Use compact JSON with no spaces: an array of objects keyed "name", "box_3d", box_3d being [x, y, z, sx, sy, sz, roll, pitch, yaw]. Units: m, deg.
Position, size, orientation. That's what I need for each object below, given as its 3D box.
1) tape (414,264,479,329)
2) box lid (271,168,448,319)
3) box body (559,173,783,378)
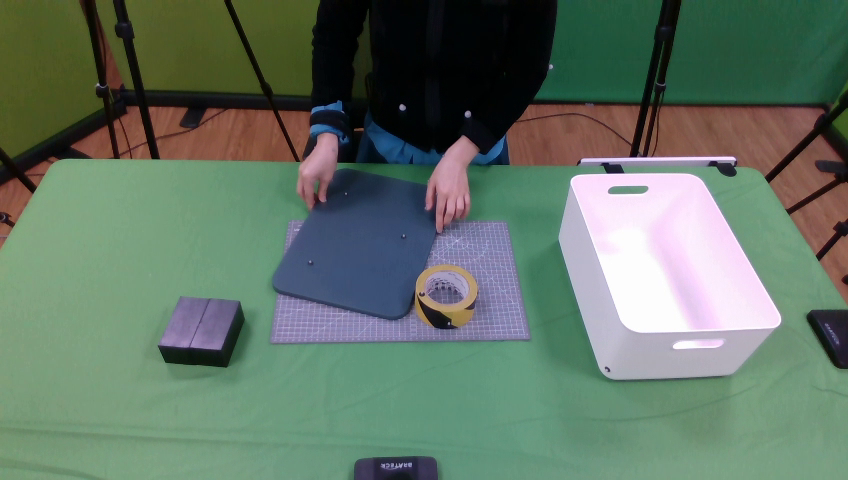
[{"name":"tape","box_3d":[0.038,0.099,1.079,0.117,0.053,0.116,3,45,-2]},{"name":"box lid","box_3d":[-0.115,-0.007,1.200,0.263,0.015,0.369,12,46,8]},{"name":"box body","box_3d":[0.405,0.057,1.074,0.254,0.161,0.361,-2,46,-5]}]
